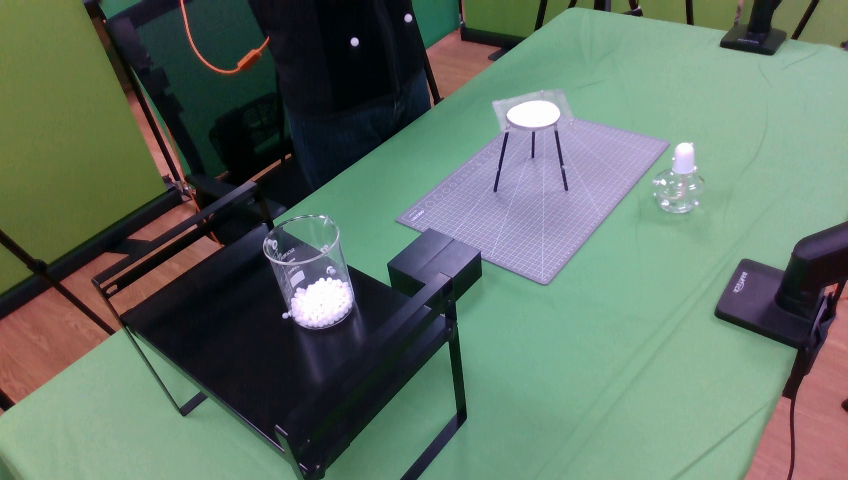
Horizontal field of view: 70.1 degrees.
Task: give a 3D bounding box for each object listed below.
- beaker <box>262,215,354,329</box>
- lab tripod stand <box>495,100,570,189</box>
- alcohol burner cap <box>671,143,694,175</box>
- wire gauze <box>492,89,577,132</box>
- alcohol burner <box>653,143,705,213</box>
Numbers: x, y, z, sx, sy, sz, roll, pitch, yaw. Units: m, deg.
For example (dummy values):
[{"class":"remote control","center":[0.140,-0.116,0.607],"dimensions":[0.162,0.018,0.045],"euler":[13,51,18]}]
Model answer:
[{"class":"beaker","center":[-0.112,0.034,0.616],"dimensions":[0.073,0.101,0.084],"euler":[13,44,23]},{"class":"lab tripod stand","center":[0.186,-0.161,1.043],"dimensions":[0.148,0.132,0.147],"euler":[-5,43,5]},{"class":"alcohol burner cap","center":[0.403,-0.129,0.941],"dimensions":[0.034,0.048,0.033],"euler":[-9,39,8]},{"class":"wire gauze","center":[0.181,-0.213,1.002],"dimensions":[0.125,0.011,0.121],"euler":[-5,41,3]},{"class":"alcohol burner","center":[0.408,-0.102,0.963],"dimensions":[0.078,0.119,0.077],"euler":[-6,42,5]}]
